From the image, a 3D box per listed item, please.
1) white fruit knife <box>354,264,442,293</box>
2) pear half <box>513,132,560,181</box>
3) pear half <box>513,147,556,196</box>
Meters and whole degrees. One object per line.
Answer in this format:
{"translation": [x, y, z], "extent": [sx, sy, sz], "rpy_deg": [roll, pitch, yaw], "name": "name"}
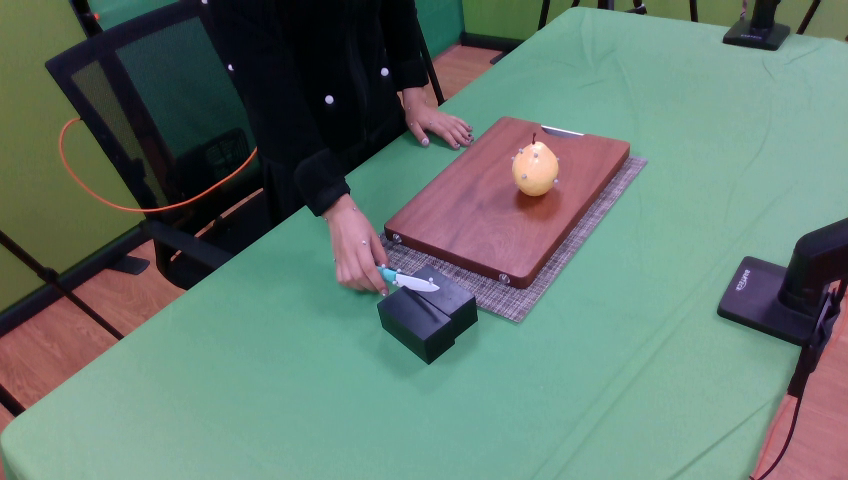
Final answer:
{"translation": [-0.041, 0.055, 0.867], "extent": [0.016, 0.027, 0.205], "rpy_deg": [-31, 23, -34], "name": "white fruit knife"}
{"translation": [0.186, -0.136, 0.996], "extent": [0.076, 0.110, 0.056], "rpy_deg": [6, 42, 13], "name": "pear half"}
{"translation": [0.178, -0.106, 0.977], "extent": [0.070, 0.088, 0.031], "rpy_deg": [7, 42, 12], "name": "pear half"}
